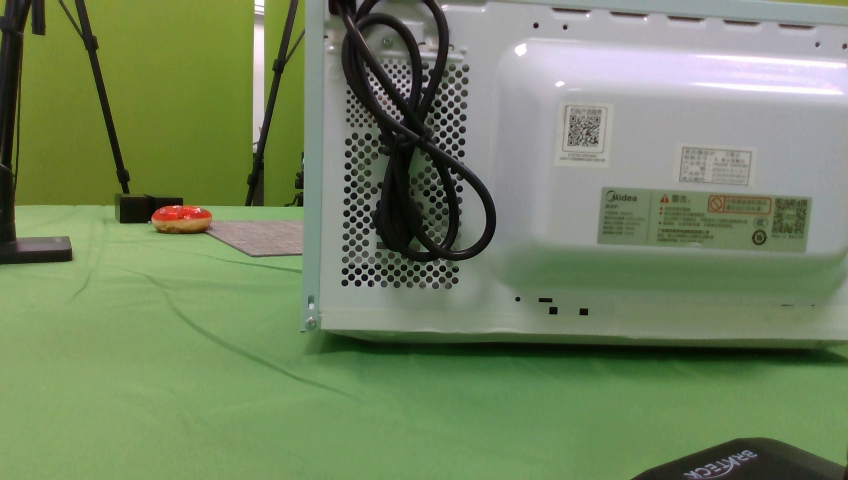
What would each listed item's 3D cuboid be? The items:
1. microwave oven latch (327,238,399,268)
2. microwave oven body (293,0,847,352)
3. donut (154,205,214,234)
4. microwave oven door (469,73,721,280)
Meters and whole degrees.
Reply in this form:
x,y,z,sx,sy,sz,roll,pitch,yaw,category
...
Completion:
x,y,z,sx,sy,sz,roll,pitch,yaw,category
-0.069,0.015,0.694,0.079,0.029,0.030,3,7,-3,microwave oven latch
0.122,-0.055,0.550,0.442,0.260,0.325,3,7,-5,microwave oven body
-0.426,-0.037,1.075,0.099,0.048,0.099,2,12,0,donut
0.208,-0.093,0.830,0.039,0.243,0.354,-5,10,-44,microwave oven door
